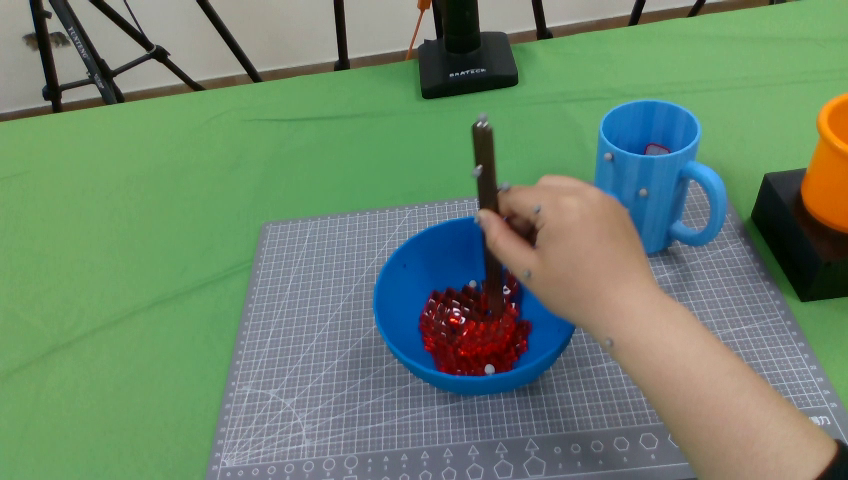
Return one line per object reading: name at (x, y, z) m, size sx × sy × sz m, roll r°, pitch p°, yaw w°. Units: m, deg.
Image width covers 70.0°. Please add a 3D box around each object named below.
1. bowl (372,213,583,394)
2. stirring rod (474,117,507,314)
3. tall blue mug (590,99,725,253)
bowl at (0.042, 0.059, 0.457) m, size 0.151 × 0.077 × 0.150 m, roll -5°, pitch 46°, yaw 6°
stirring rod at (0.046, -0.007, 0.409) m, size 0.014 × 0.178 × 0.006 m, roll 20°, pitch 52°, yaw 28°
tall blue mug at (0.197, -0.049, 0.508) m, size 0.106 × 0.109 × 0.077 m, roll 14°, pitch 50°, yaw 22°
